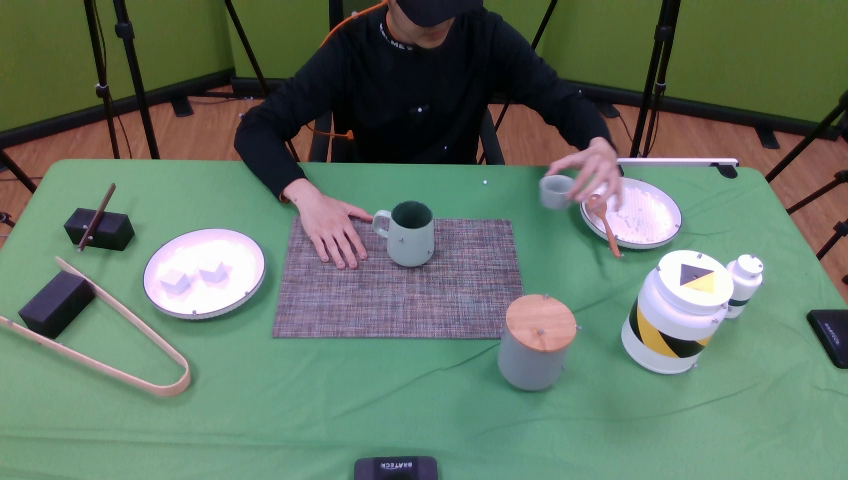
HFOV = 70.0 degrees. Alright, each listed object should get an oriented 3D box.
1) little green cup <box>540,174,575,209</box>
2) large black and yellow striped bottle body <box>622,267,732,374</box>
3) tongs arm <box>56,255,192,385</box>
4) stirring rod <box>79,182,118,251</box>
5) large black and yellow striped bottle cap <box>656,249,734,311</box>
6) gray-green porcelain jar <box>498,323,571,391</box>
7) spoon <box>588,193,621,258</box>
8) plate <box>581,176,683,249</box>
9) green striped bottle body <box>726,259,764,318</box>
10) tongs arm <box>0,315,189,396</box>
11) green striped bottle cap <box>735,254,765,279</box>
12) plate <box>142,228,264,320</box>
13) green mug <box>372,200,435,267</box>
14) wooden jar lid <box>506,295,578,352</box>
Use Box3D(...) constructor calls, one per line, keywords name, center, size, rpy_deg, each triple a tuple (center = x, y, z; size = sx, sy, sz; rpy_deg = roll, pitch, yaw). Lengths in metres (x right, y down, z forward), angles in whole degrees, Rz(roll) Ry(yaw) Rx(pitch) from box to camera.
Box3D(name="little green cup", center=(0.236, -0.085, 1.082), size=(0.061, 0.039, 0.061), rpy_deg=(-1, 40, 1))
Box3D(name="large black and yellow striped bottle body", center=(0.415, 0.119, 0.997), size=(0.131, 0.185, 0.130), rpy_deg=(2, 46, -2))
Box3D(name="tongs arm", center=(-0.517, 0.126, 1.033), size=(0.386, 0.028, 0.028), rpy_deg=(30, 43, 23))
Box3D(name="stirring rod", center=(-0.605, -0.047, 1.130), size=(0.006, 0.014, 0.175), rpy_deg=(0, 47, 1))
Box3D(name="large black and yellow striped bottle cap", center=(0.419, 0.061, 0.938), size=(0.115, 0.019, 0.114), rpy_deg=(2, 47, -2))
Box3D(name="gray-green porcelain jar", center=(0.176, 0.172, 0.971), size=(0.106, 0.127, 0.105), rpy_deg=(2, 46, -2))
Box3D(name="spoon", center=(0.367, -0.032, 1.220), size=(0.041, 0.022, 0.192), rpy_deg=(1, 38, -1))
Box3D(name="plate", center=(0.430, -0.054, 1.267), size=(0.209, 0.038, 0.208), rpy_deg=(2, 46, -2))
Box3D(name="green striped bottle body", center=(0.563, 0.081, 1.089), size=(0.063, 0.120, 0.063), rpy_deg=(2, 46, -2))
Box3D(name="tongs arm", center=(-0.555, 0.170, 0.981), size=(0.384, 0.026, 0.050), rpy_deg=(21, 43, 14))
Box3D(name="green striped bottle cap", center=(0.566, 0.046, 1.051), size=(0.044, 0.020, 0.044), rpy_deg=(0, 45, 0))
Box3D(name="plate", center=(-0.394, 0.064, 1.095), size=(0.208, 0.039, 0.206), rpy_deg=(2, 46, -2))
Box3D(name="green mug", center=(-0.040, -0.016, 1.146), size=(0.125, 0.105, 0.092), rpy_deg=(17, 48, 13))
Box3D(name="wooden jar lid", center=(0.179, 0.129, 0.926), size=(0.108, 0.021, 0.107), rpy_deg=(2, 43, -2))
